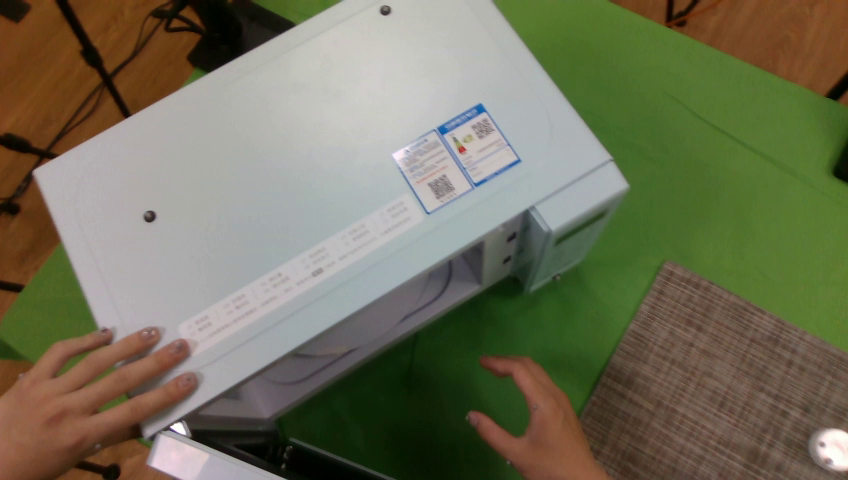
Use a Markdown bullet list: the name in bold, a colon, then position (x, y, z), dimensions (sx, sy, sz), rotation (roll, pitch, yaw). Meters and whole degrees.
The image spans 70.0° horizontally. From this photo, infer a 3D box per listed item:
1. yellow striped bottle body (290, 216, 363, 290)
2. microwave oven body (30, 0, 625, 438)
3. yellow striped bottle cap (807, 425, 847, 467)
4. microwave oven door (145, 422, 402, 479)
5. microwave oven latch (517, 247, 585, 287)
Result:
- **yellow striped bottle body**: position (-0.101, 0.014, 0.633), dimensions (0.063, 0.121, 0.062), rotation (0, 78, 1)
- **microwave oven body**: position (-0.088, -0.033, 0.640), dimensions (0.442, 0.262, 0.324), rotation (-32, 74, -5)
- **yellow striped bottle cap**: position (0.440, 0.222, 0.652), dimensions (0.044, 0.019, 0.044), rotation (-2, 73, 5)
- **microwave oven door**: position (-0.036, 0.244, 0.547), dimensions (0.355, 0.245, 0.039), rotation (18, 75, 9)
- **microwave oven latch**: position (0.147, 0.023, 0.707), dimensions (0.079, 0.030, 0.030), rotation (-30, 74, -4)
